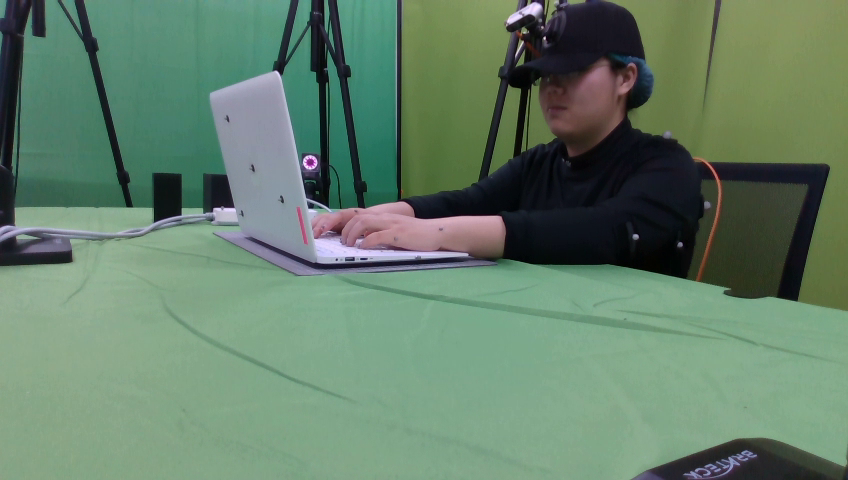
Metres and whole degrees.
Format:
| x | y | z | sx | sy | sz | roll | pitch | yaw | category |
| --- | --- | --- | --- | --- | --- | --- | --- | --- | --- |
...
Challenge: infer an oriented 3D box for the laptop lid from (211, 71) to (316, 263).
| x | y | z | sx | sy | sz | roll | pitch | yaw | category |
| --- | --- | --- | --- | --- | --- | --- | --- | --- | --- |
| -0.240 | -0.104 | 0.861 | 0.013 | 0.241 | 0.355 | -16 | 17 | -29 | laptop lid |

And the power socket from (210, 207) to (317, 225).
| x | y | z | sx | sy | sz | roll | pitch | yaw | category |
| --- | --- | --- | --- | --- | --- | --- | --- | --- | --- |
| -0.334 | -0.051 | 1.281 | 0.228 | 0.032 | 0.072 | -1 | 8 | -28 | power socket |

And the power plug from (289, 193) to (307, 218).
| x | y | z | sx | sy | sz | roll | pitch | yaw | category |
| --- | --- | --- | --- | --- | --- | --- | --- | --- | --- |
| -0.281 | -0.076 | 1.340 | 0.035 | 0.052 | 0.072 | 3 | 6 | -18 | power plug |

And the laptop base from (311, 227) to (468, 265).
| x | y | z | sx | sy | sz | roll | pitch | yaw | category |
| --- | --- | --- | --- | --- | --- | --- | --- | --- | --- |
| -0.123 | 0.007 | 0.951 | 0.237 | 0.023 | 0.352 | 2 | 6 | -32 | laptop base |

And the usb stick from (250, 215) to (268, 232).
| x | y | z | sx | sy | sz | roll | pitch | yaw | category |
| --- | --- | --- | --- | --- | --- | --- | --- | --- | --- |
| -0.290 | -0.028 | 1.069 | 0.021 | 0.027 | 0.059 | -1 | 11 | -30 | usb stick |

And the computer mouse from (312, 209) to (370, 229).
| x | y | z | sx | sy | sz | roll | pitch | yaw | category |
| --- | --- | --- | --- | --- | --- | --- | --- | --- | --- |
| -0.174 | -0.043 | 1.266 | 0.118 | 0.041 | 0.062 | -7 | 14 | -34 | computer mouse |
